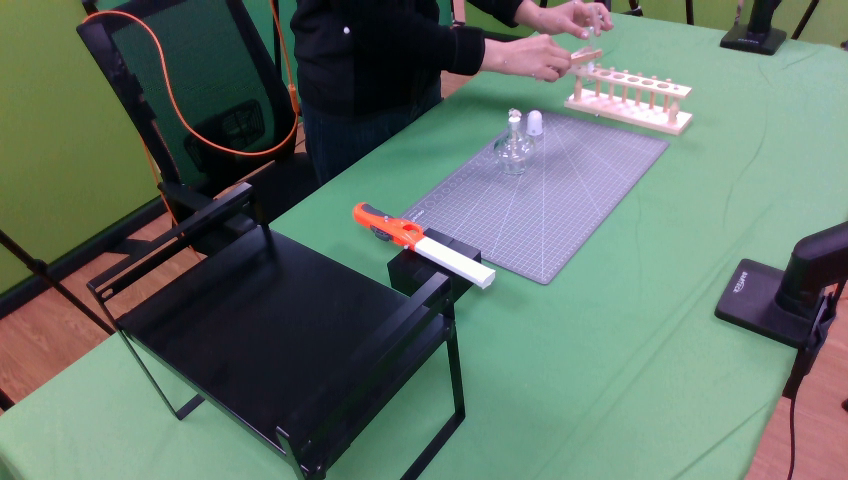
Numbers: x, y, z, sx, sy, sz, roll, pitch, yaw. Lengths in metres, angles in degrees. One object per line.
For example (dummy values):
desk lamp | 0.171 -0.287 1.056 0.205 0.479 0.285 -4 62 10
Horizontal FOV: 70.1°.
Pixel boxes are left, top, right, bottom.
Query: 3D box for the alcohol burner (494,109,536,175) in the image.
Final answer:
alcohol burner | 0.163 -0.179 1.087 0.078 0.119 0.077 -5 39 5

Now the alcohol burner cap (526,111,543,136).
alcohol burner cap | 0.219 -0.232 1.196 0.034 0.048 0.033 -4 41 4

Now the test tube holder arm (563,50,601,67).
test tube holder arm | 0.302 -0.348 1.159 0.088 0.015 0.010 -18 44 -20

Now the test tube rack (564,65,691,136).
test tube rack | 0.404 -0.288 1.204 0.240 0.085 0.067 24 49 32

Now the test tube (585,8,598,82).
test tube | 0.322 -0.373 1.167 0.017 0.151 0.017 -5 44 5

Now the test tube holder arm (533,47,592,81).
test tube holder arm | 0.263 -0.333 1.142 0.179 0.015 0.013 -31 48 -32

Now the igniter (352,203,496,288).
igniter | -0.011 0.002 0.899 0.274 0.025 0.057 27 45 33
